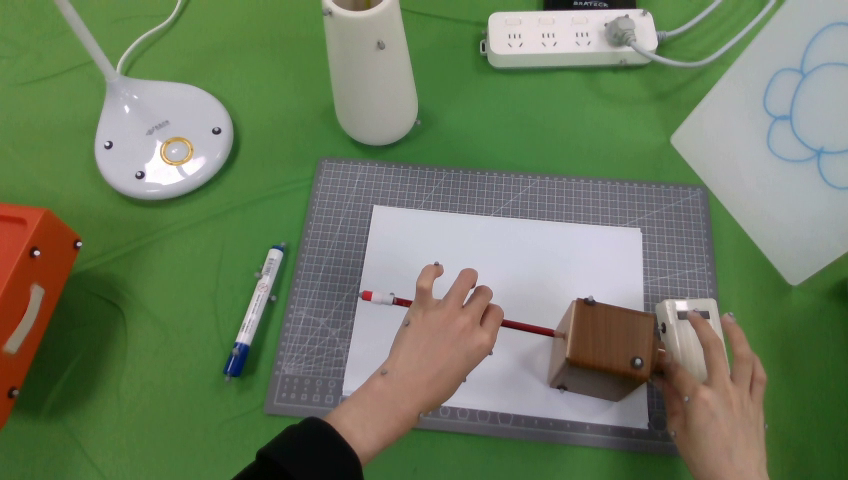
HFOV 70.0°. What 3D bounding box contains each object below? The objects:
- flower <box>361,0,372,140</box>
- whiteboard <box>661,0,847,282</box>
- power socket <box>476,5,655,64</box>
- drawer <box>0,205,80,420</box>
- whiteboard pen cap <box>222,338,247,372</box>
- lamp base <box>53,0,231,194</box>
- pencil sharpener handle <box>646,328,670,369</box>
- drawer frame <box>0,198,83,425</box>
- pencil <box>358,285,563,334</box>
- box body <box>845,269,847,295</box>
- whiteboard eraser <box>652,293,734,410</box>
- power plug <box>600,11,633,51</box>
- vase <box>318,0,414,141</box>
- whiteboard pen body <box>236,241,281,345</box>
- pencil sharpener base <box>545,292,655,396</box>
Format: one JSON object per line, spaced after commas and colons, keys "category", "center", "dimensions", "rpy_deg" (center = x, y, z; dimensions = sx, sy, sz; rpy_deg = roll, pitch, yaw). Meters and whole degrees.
{"category": "flower", "center": [-0.057, -0.246, 0.585], "dimensions": [0.038, 0.365, 0.043], "rpy_deg": [-7, 47, -9]}
{"category": "whiteboard", "center": [0.431, -0.139, 0.593], "dimensions": [0.144, 0.307, 0.215], "rpy_deg": [-17, 64, -27]}
{"category": "power socket", "center": [0.180, -0.261, 0.769], "dimensions": [0.227, 0.033, 0.071], "rpy_deg": [-1, 66, 0]}
{"category": "drawer", "center": [-0.466, 0.053, 0.561], "dimensions": [0.211, 0.074, 0.193], "rpy_deg": [7, 66, 4]}
{"category": "whiteboard pen cap", "center": [-0.188, 0.113, 0.604], "dimensions": [0.018, 0.018, 0.033], "rpy_deg": [9, 60, 6]}
{"category": "lamp base", "center": [-0.322, -0.164, 0.652], "dimensions": [0.178, 0.181, 0.160], "rpy_deg": [36, 70, 19]}
{"category": "pencil sharpener handle", "center": [0.211, 0.103, 0.544], "dimensions": [0.030, 0.068, 0.036], "rpy_deg": [11, 70, 6]}
{"category": "drawer frame", "center": [-0.471, 0.055, 0.562], "dimensions": [0.213, 0.083, 0.200], "rpy_deg": [8, 66, 2]}
{"category": "pencil", "center": [0.036, 0.064, 0.543], "dimensions": [0.194, 0.012, 0.012], "rpy_deg": [12, 66, 1]}
{"category": "box body", "center": [0.539, 0.154, 0.501], "dimensions": [0.254, 0.161, 0.361], "rpy_deg": [4, 65, 3]}
{"category": "whiteboard eraser", "center": [0.260, 0.108, 0.591], "dimensions": [0.055, 0.042, 0.112], "rpy_deg": [0, 65, -1]}
{"category": "power plug", "center": [0.231, -0.245, 0.736], "dimensions": [0.035, 0.053, 0.072], "rpy_deg": [9, 67, 6]}
{"category": "vase", "center": [-0.063, -0.195, 0.652], "dimensions": [0.098, 0.201, 0.097], "rpy_deg": [-1, 64, 2]}
{"category": "whiteboard pen body", "center": [-0.175, 0.063, 0.632], "dimensions": [0.017, 0.017, 0.139], "rpy_deg": [9, 62, 6]}
{"category": "pencil sharpener base", "center": [0.161, 0.099, 0.560], "dimensions": [0.076, 0.108, 0.061], "rpy_deg": [11, 65, 6]}
